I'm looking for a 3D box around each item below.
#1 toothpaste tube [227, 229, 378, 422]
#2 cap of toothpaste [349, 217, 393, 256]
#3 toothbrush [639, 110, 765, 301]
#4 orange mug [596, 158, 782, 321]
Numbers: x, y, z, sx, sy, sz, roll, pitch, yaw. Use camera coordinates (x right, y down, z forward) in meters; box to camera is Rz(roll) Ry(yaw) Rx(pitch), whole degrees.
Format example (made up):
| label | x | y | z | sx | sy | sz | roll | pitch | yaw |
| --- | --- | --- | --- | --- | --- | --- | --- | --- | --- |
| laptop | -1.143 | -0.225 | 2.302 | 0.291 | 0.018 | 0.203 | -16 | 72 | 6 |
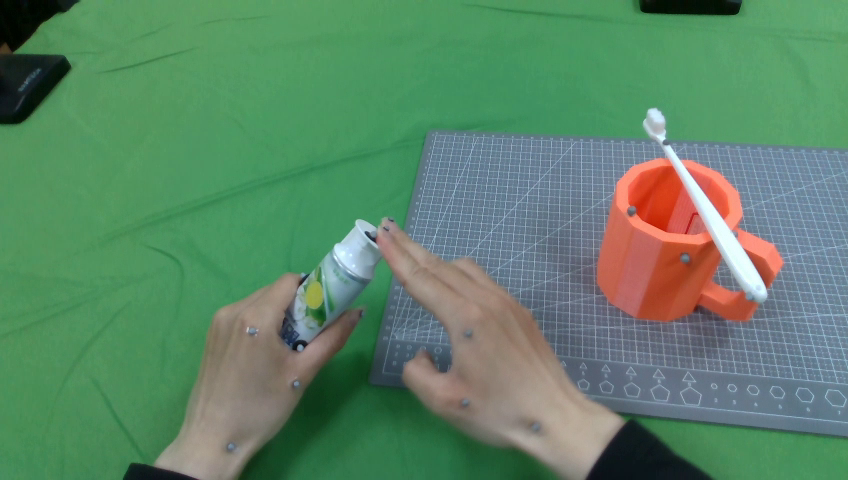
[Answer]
| label | x | y | z | sx | sy | sz | roll | pitch | yaw |
| --- | --- | --- | --- | --- | --- | --- | --- | --- | --- |
| toothpaste tube | -0.089 | 0.056 | 0.436 | 0.165 | 0.035 | 0.054 | -50 | 55 | 15 |
| cap of toothpaste | -0.038 | -0.001 | 0.413 | 0.011 | 0.038 | 0.037 | -52 | 56 | 11 |
| toothbrush | 0.191 | -0.032 | 0.425 | 0.014 | 0.017 | 0.180 | -8 | 50 | -4 |
| orange mug | 0.196 | 0.008 | 0.459 | 0.125 | 0.102 | 0.083 | 29 | 58 | 31 |
